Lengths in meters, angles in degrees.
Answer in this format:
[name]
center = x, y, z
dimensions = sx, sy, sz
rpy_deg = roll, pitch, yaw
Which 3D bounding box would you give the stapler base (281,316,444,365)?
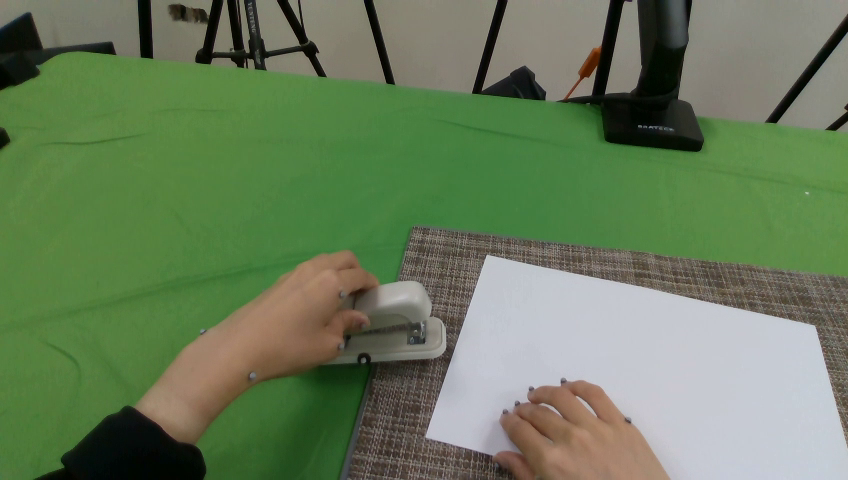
[stapler base]
center = -0.050, 0.074, 0.482
dimensions = 0.130, 0.024, 0.041
rpy_deg = -5, 38, 5

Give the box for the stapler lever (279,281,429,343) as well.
[stapler lever]
center = -0.055, 0.055, 0.465
dimensions = 0.118, 0.040, 0.026
rpy_deg = -5, 38, 5
